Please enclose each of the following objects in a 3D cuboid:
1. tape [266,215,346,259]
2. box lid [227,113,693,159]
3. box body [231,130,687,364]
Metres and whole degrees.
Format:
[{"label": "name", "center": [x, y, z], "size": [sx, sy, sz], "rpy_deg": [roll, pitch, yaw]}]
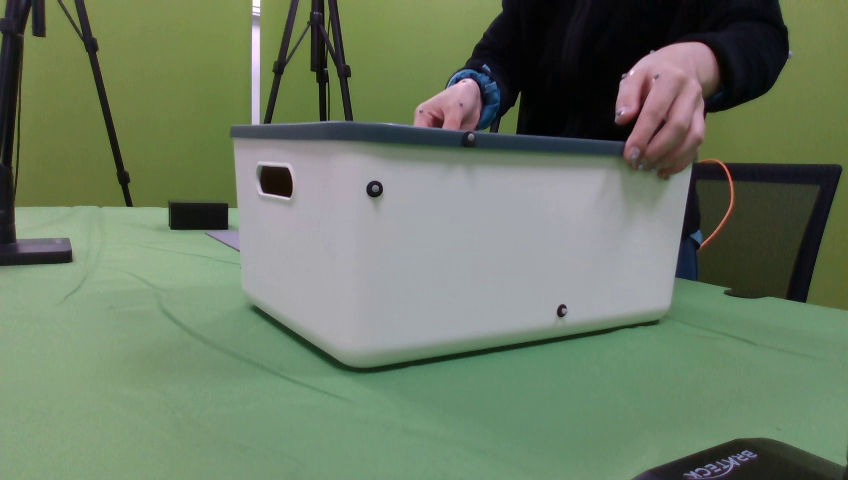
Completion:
[{"label": "tape", "center": [-0.168, -0.006, 0.871], "size": [0.117, 0.052, 0.117], "rpy_deg": [3, 7, 0]}, {"label": "box lid", "center": [0.031, -0.087, 0.553], "size": [0.373, 0.015, 0.262], "rpy_deg": [-2, 8, -33]}, {"label": "box body", "center": [0.031, -0.013, 0.563], "size": [0.366, 0.160, 0.253], "rpy_deg": [-3, 8, -33]}]
